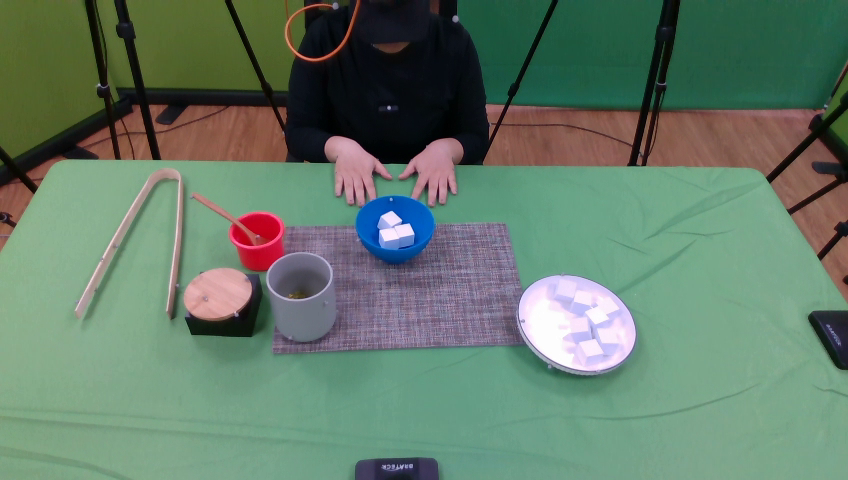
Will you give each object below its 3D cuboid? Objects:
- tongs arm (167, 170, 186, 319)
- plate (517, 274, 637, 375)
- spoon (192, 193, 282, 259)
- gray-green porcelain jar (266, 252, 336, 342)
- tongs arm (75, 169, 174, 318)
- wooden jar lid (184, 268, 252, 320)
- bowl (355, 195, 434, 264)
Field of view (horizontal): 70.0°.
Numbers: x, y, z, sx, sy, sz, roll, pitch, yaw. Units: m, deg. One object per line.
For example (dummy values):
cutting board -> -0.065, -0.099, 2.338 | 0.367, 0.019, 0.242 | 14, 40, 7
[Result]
tongs arm -> -0.479, -0.007, 1.165 | 0.028, 0.028, 0.385 | -9, 47, -9
plate -> 0.264, 0.149, 1.060 | 0.209, 0.038, 0.208 | 3, 46, -3
spoon -> -0.342, -0.027, 1.115 | 0.194, 0.021, 0.041 | 43, 40, -24
gray-green porcelain jar -> -0.202, 0.100, 1.009 | 0.106, 0.127, 0.105 | 2, 46, -2
tongs arm -> -0.559, -0.008, 1.155 | 0.051, 0.026, 0.382 | 3, 45, -2
wooden jar lid -> -0.343, 0.092, 1.015 | 0.108, 0.021, 0.107 | 3, 46, -3
bowl -> -0.056, -0.008, 1.158 | 0.151, 0.077, 0.150 | 2, 46, -2
